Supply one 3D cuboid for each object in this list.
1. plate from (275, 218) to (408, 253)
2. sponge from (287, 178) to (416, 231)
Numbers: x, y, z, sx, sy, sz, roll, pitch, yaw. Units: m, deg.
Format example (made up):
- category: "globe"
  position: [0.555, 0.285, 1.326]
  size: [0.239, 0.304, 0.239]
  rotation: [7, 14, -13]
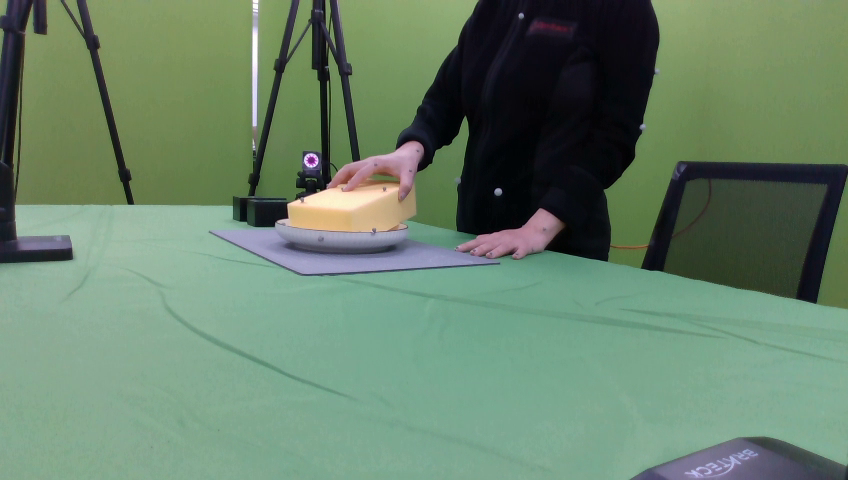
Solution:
- category: "plate"
  position: [-0.129, -0.009, 0.954]
  size: [0.209, 0.038, 0.209]
  rotation: [2, 7, 0]
- category: "sponge"
  position: [-0.111, -0.050, 0.986]
  size: [0.118, 0.061, 0.207]
  rotation: [5, 19, 25]
